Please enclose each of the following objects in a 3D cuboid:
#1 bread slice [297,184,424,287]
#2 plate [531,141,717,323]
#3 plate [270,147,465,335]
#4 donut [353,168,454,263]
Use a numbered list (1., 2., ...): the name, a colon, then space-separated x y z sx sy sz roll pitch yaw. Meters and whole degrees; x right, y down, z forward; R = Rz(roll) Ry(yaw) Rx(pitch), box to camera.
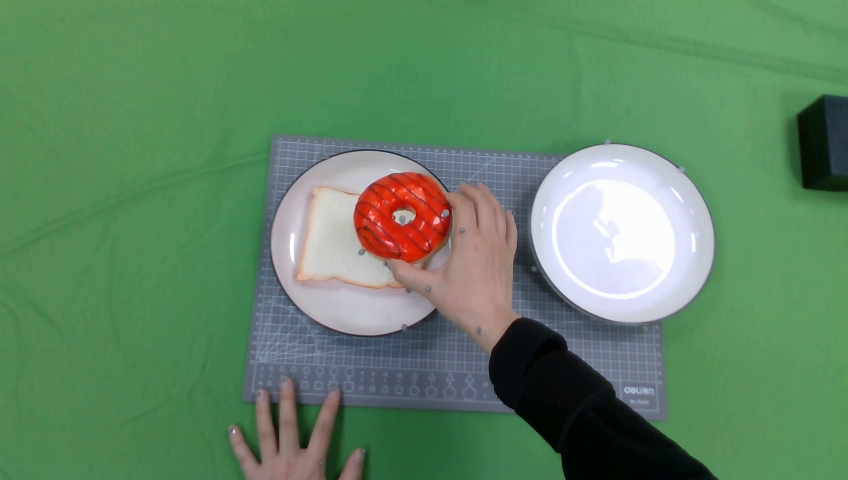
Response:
1. bread slice: -0.064 -0.002 0.659 0.134 0.018 0.106 5 77 -5
2. plate: 0.220 -0.008 0.682 0.208 0.039 0.206 1 75 -4
3. plate: -0.060 0.002 0.659 0.209 0.038 0.208 1 76 -4
4. donut: -0.020 -0.025 0.588 0.099 0.048 0.098 -2 69 6
